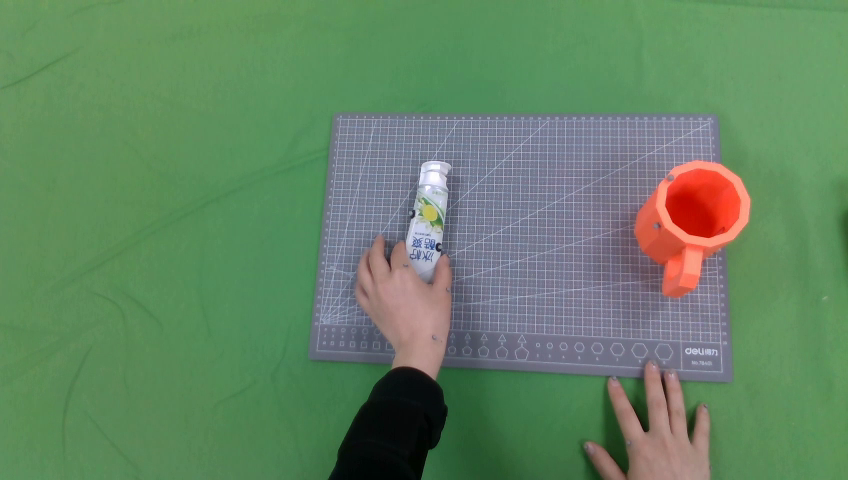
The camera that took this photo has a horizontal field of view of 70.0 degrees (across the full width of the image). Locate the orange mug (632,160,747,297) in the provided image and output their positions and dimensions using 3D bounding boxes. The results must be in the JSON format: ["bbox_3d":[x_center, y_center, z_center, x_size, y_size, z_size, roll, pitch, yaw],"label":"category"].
[{"bbox_3d":[0.264,-0.008,0.616,0.083,0.101,0.125,10,73,9],"label":"orange mug"}]

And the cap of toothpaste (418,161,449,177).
[{"bbox_3d":[0.011,-0.080,0.691,0.037,0.037,0.011,-1,75,6],"label":"cap of toothpaste"}]

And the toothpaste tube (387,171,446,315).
[{"bbox_3d":[-0.003,-0.001,0.680,0.055,0.035,0.164,7,81,12],"label":"toothpaste tube"}]
